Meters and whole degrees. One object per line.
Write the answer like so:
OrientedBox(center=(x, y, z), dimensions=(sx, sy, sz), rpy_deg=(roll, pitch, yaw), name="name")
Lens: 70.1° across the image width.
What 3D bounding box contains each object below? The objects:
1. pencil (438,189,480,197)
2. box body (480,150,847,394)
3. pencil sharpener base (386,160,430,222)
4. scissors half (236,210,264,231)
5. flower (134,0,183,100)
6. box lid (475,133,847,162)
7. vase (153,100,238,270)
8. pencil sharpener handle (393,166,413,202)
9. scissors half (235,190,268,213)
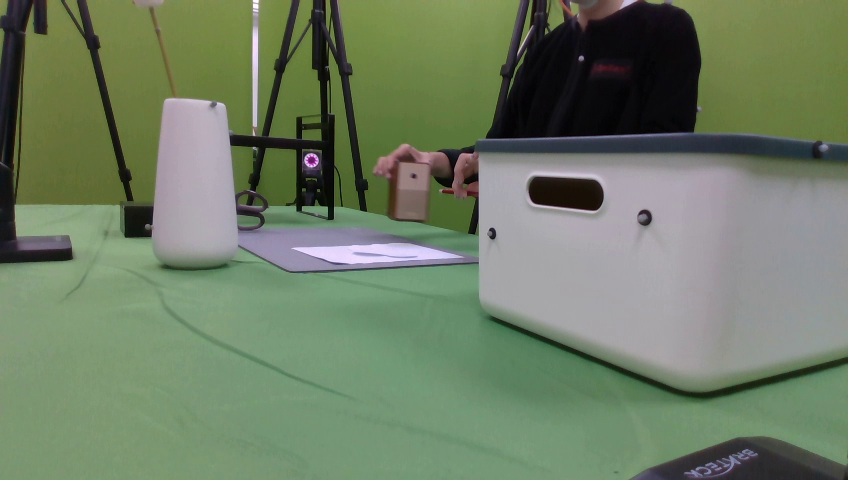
OrientedBox(center=(0.081, -0.070, 0.939), dimensions=(0.012, 0.012, 0.193), rpy_deg=(-3, 9, -37), name="pencil")
OrientedBox(center=(0.254, 0.002, 0.539), dimensions=(0.366, 0.160, 0.253), rpy_deg=(-2, 8, -31), name="box body")
OrientedBox(center=(-0.031, -0.088, 1.094), dimensions=(0.061, 0.107, 0.076), rpy_deg=(2, 4, -16), name="pencil sharpener base")
OrientedBox(center=(-0.369, -0.051, 1.064), dimensions=(0.176, 0.040, 0.012), rpy_deg=(19, 13, -27), name="scissors half")
OrientedBox(center=(-0.282, -0.147, 0.713), dimensions=(0.038, 0.362, 0.044), rpy_deg=(-23, 24, -31), name="flower")
OrientedBox(center=(0.255, -0.073, 0.528), dimensions=(0.373, 0.015, 0.262), rpy_deg=(-2, 8, -31), name="box lid")
OrientedBox(center=(-0.278, -0.066, 0.736), dimensions=(0.098, 0.200, 0.098), rpy_deg=(2, 9, 0), name="vase")
OrientedBox(center=(-0.039, -0.105, 1.143), dimensions=(0.036, 0.068, 0.030), rpy_deg=(-16, 9, -14), name="pencil sharpener handle")
OrientedBox(center=(-0.363, -0.070, 1.060), dimensions=(0.176, 0.040, 0.013), rpy_deg=(0, 16, -23), name="scissors half")
